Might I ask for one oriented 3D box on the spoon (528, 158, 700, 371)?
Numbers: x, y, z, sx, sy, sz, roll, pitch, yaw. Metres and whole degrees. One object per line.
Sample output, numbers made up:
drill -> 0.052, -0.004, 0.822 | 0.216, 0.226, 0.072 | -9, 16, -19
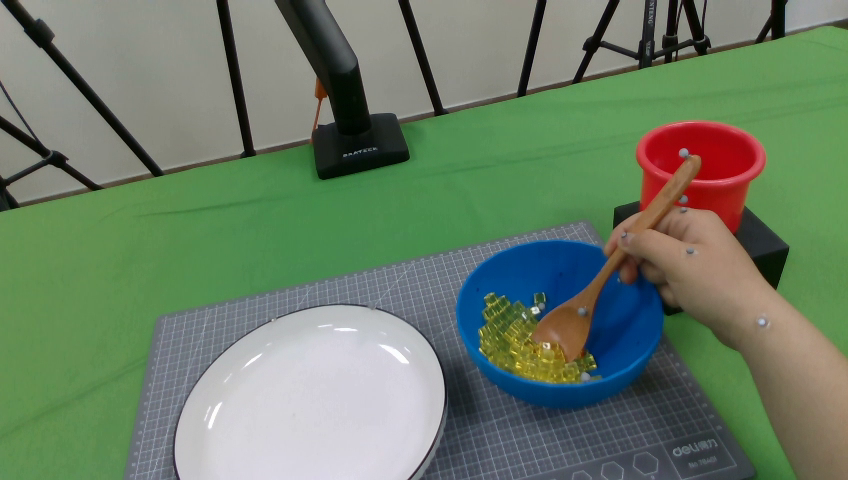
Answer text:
spoon -> 0.140, 0.022, 0.451 | 0.022, 0.194, 0.041 | 5, 34, -48

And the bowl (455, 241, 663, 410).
bowl -> 0.102, 0.078, 0.472 | 0.151, 0.077, 0.150 | -6, 40, 5

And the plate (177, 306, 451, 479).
plate -> -0.081, 0.138, 0.470 | 0.207, 0.039, 0.205 | -6, 39, 5
